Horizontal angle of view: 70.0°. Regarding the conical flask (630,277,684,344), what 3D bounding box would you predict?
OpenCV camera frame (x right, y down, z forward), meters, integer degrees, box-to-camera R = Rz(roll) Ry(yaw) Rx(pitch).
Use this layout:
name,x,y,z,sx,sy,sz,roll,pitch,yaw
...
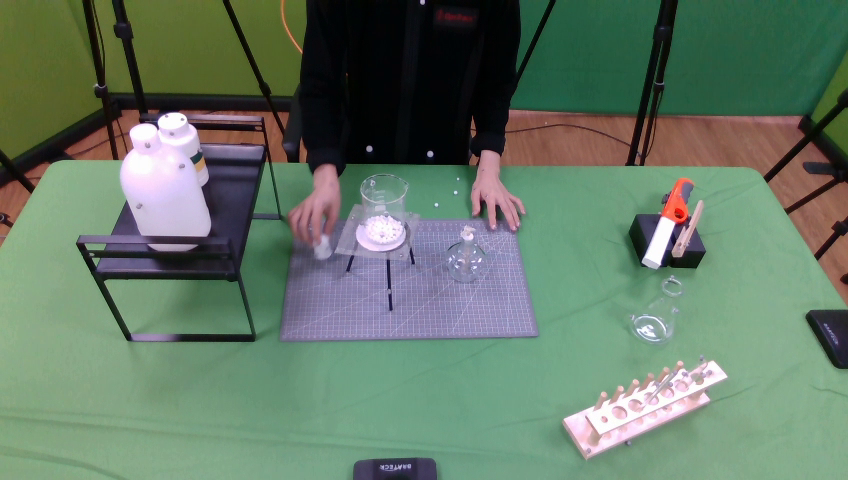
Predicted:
name,x,y,z,sx,sy,sz,roll,pitch,yaw
conical flask,0.408,0.117,1.045,0.075,0.122,0.075,2,46,-2

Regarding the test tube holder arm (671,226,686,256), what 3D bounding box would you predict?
name,x,y,z,sx,sy,sz,roll,pitch,yaw
test tube holder arm,0.494,0.001,1.167,0.010,0.015,0.087,1,36,42

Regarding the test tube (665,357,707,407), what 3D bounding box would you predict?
name,x,y,z,sx,sy,sz,roll,pitch,yaw
test tube,0.387,0.215,0.905,0.017,0.151,0.017,1,52,-1

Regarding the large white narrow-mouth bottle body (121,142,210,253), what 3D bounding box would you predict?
name,x,y,z,sx,sy,sz,roll,pitch,yaw
large white narrow-mouth bottle body,-0.378,-0.077,0.875,0.102,0.195,0.101,3,46,-3

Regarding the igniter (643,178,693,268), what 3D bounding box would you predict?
name,x,y,z,sx,sy,sz,roll,pitch,yaw
igniter,0.488,-0.042,1.205,0.057,0.025,0.276,30,51,11

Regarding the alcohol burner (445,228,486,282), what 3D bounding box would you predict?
name,x,y,z,sx,sy,sz,roll,pitch,yaw
alcohol burner,0.077,0.021,1.115,0.078,0.120,0.077,1,48,-1

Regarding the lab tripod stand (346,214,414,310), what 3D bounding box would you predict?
name,x,y,z,sx,sy,sz,roll,pitch,yaw
lab tripod stand,-0.075,0.030,1.082,0.148,0.132,0.147,1,47,-1

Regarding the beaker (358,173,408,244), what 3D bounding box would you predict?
name,x,y,z,sx,sy,sz,roll,pitch,yaw
beaker,-0.066,-0.050,1.000,0.084,0.101,0.073,-18,49,-20

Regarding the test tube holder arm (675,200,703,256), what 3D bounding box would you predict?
name,x,y,z,sx,sy,sz,roll,pitch,yaw
test tube holder arm,0.523,-0.025,1.190,0.013,0.015,0.178,1,36,41

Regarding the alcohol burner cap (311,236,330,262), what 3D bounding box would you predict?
name,x,y,z,sx,sy,sz,roll,pitch,yaw
alcohol burner cap,-0.195,0.015,1.126,0.034,0.048,0.033,-2,46,2

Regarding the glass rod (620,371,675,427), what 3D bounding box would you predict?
name,x,y,z,sx,sy,sz,roll,pitch,yaw
glass rod,0.315,0.230,0.863,0.008,0.200,0.008,3,54,-3

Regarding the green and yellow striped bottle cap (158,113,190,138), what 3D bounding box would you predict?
name,x,y,z,sx,sy,sz,roll,pitch,yaw
green and yellow striped bottle cap,-0.393,-0.180,0.951,0.045,0.020,0.045,2,44,-2

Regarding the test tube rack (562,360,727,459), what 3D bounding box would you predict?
name,x,y,z,sx,sy,sz,roll,pitch,yaw
test tube rack,0.341,0.247,0.940,0.243,0.085,0.066,-16,49,-18

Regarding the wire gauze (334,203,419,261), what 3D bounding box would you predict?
name,x,y,z,sx,sy,sz,roll,pitch,yaw
wire gauze,-0.079,-0.013,1.031,0.121,0.011,0.124,8,48,7

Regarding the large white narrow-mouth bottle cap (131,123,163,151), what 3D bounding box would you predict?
name,x,y,z,sx,sy,sz,roll,pitch,yaw
large white narrow-mouth bottle cap,-0.371,-0.138,0.812,0.038,0.024,0.037,3,46,-3

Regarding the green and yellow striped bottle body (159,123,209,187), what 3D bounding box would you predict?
name,x,y,z,sx,sy,sz,roll,pitch,yaw
green and yellow striped bottle body,-0.395,-0.145,0.989,0.063,0.120,0.063,2,46,-2
